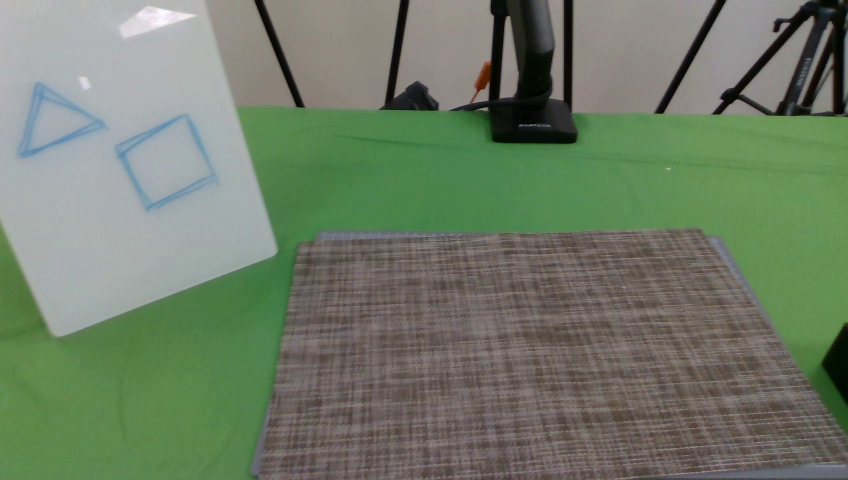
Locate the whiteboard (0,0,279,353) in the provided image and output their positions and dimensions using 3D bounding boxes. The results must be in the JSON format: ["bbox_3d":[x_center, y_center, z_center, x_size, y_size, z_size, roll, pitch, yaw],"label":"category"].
[{"bbox_3d":[-0.306,-0.089,0.592,0.217,0.307,0.142,-23,23,-27],"label":"whiteboard"}]
